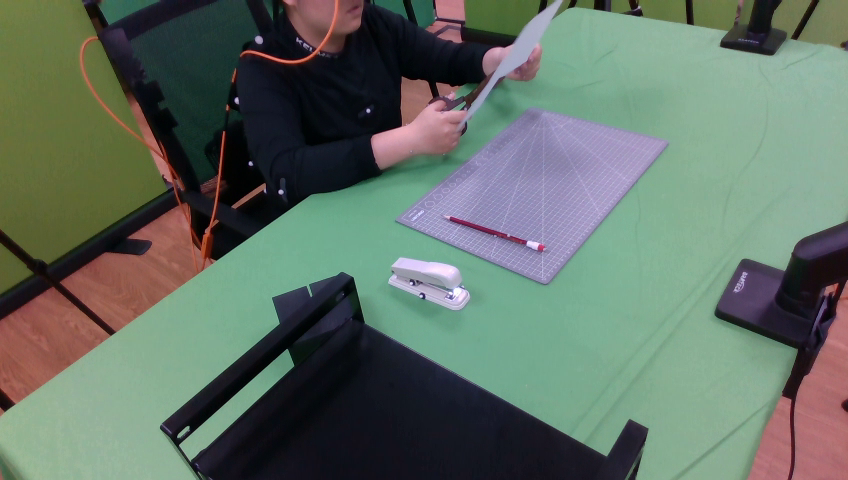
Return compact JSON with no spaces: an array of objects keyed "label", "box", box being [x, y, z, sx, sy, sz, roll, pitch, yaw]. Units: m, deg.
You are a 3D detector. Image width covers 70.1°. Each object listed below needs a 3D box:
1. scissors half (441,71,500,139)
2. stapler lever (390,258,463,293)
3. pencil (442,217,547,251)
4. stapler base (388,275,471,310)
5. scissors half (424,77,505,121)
[{"label":"scissors half","box":[0.087,-0.248,1.120,0.040,0.175,0.013,31,41,-10]},{"label":"stapler lever","box":[0.003,0.046,0.881,0.117,0.040,0.027,17,44,29]},{"label":"pencil","box":[0.110,-0.012,0.979,0.192,0.012,0.012,18,46,30]},{"label":"stapler base","box":[0.007,0.066,0.897,0.129,0.024,0.041,17,44,29]},{"label":"scissors half","box":[0.072,-0.263,1.113,0.174,0.040,0.013,-17,28,30]}]
